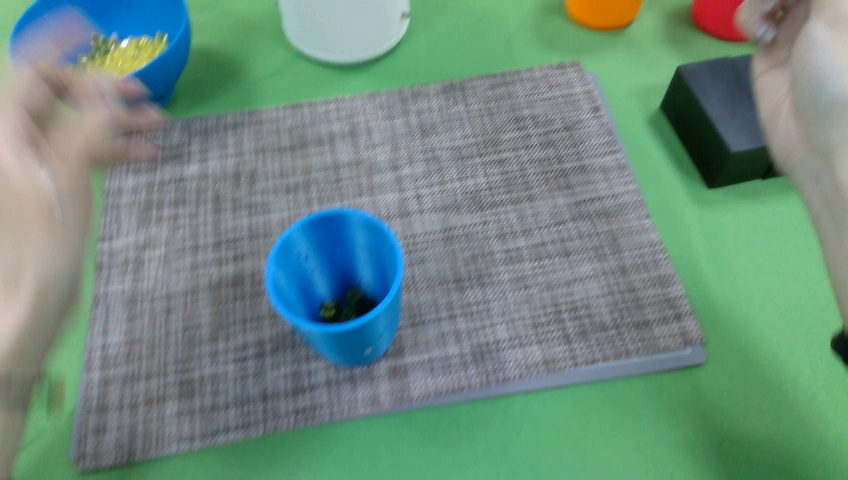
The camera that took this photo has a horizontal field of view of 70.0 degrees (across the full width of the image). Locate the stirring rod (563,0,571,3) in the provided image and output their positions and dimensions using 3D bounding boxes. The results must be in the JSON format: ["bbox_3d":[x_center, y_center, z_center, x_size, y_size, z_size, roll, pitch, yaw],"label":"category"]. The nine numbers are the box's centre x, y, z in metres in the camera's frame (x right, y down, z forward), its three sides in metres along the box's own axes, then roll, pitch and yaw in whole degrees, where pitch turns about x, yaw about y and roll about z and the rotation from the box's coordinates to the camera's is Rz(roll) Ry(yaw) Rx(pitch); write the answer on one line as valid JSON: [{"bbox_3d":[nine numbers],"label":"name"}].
[{"bbox_3d":[0.209,-0.271,0.577,0.175,0.006,0.014,-16,47,43],"label":"stirring rod"}]

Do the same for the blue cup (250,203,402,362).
[{"bbox_3d":[-0.053,0.038,0.411,0.092,0.101,0.092,-1,60,2],"label":"blue cup"}]

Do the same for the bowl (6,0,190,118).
[{"bbox_3d":[-0.281,-0.166,0.554,0.151,0.077,0.150,0,59,1],"label":"bowl"}]

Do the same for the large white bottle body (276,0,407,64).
[{"bbox_3d":[-0.083,-0.273,0.553,0.130,0.186,0.129,0,59,0],"label":"large white bottle body"}]
